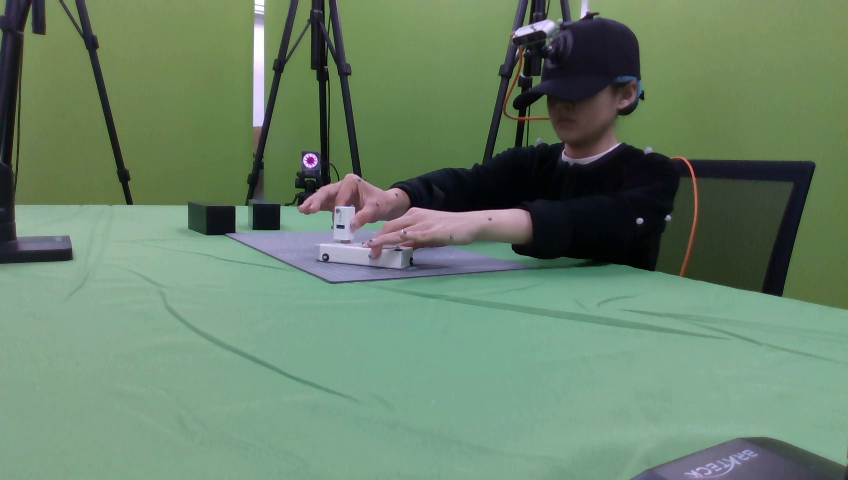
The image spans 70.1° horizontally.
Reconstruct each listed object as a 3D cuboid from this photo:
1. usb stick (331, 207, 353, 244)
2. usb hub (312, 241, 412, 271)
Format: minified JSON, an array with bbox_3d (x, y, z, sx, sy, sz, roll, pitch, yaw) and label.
[{"bbox_3d":[-0.110,-0.014,0.812,0.021,0.059,0.027,6,9,16],"label":"usb stick"},{"bbox_3d":[-0.082,0.020,0.803,0.125,0.025,0.049,5,8,17],"label":"usb hub"}]
